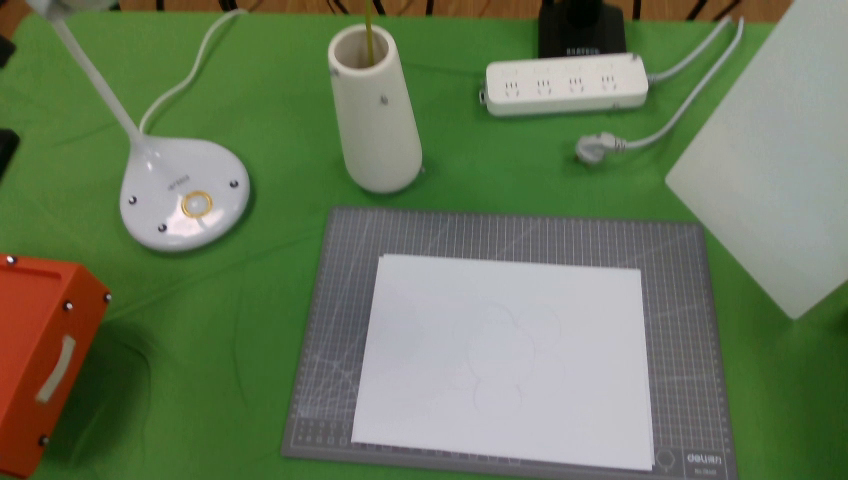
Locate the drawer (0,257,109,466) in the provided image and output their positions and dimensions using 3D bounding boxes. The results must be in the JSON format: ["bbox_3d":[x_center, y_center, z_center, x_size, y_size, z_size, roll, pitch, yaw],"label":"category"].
[{"bbox_3d":[-0.457,0.103,0.598,0.211,0.074,0.193,7,63,7],"label":"drawer"}]

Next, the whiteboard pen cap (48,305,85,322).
[{"bbox_3d":[-0.374,0.077,0.632,0.033,0.018,0.018,-6,61,7],"label":"whiteboard pen cap"}]

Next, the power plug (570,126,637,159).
[{"bbox_3d":[0.219,-0.113,0.751,0.073,0.053,0.035,25,60,-6],"label":"power plug"}]

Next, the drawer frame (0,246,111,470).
[{"bbox_3d":[-0.463,0.105,0.600,0.213,0.083,0.200,7,62,5],"label":"drawer frame"}]

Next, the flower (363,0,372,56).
[{"bbox_3d":[-0.057,-0.204,0.631,0.038,0.365,0.043,-8,43,-8],"label":"flower"}]

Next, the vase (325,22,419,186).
[{"bbox_3d":[-0.061,-0.149,0.695,0.098,0.202,0.097,-2,61,4],"label":"vase"}]

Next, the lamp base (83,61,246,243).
[{"bbox_3d":[-0.318,-0.110,0.700,0.178,0.182,0.160,33,68,23],"label":"lamp base"}]

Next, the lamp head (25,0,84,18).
[{"bbox_3d":[-0.287,-0.243,0.440,0.124,0.112,0.112,42,66,-18],"label":"lamp head"}]

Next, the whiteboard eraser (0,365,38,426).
[{"bbox_3d":[-0.436,0.151,0.589,0.112,0.042,0.055,-1,54,11],"label":"whiteboard eraser"}]

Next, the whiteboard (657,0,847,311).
[{"bbox_3d":[0.434,-0.111,0.619,0.144,0.307,0.215,-17,59,-27],"label":"whiteboard"}]

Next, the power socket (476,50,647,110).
[{"bbox_3d":[0.184,-0.214,0.810,0.227,0.033,0.071,-2,62,2],"label":"power socket"}]

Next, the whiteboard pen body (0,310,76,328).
[{"bbox_3d":[-0.434,0.084,0.631,0.141,0.017,0.017,-5,61,-1],"label":"whiteboard pen body"}]
